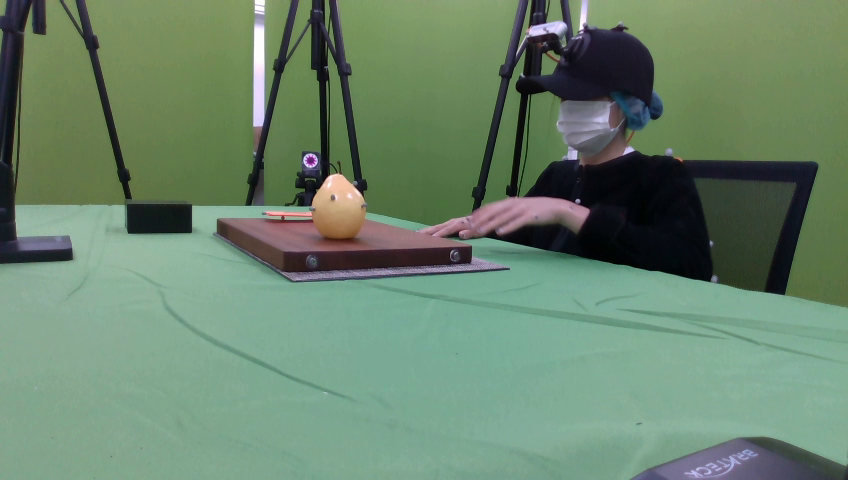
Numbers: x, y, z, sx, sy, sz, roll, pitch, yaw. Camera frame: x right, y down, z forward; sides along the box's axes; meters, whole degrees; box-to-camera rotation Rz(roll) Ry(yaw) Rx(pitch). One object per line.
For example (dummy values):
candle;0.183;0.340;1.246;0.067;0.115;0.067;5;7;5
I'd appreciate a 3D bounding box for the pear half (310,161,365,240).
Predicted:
pear half;-0.122;-0.055;0.837;0.076;0.110;0.056;-2;7;1

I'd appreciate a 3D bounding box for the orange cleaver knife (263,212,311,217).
orange cleaver knife;-0.192;-0.045;1.097;0.212;0.012;0.077;0;4;-38

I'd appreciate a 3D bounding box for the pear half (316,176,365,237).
pear half;-0.120;-0.049;0.874;0.070;0.088;0.031;-2;8;0
